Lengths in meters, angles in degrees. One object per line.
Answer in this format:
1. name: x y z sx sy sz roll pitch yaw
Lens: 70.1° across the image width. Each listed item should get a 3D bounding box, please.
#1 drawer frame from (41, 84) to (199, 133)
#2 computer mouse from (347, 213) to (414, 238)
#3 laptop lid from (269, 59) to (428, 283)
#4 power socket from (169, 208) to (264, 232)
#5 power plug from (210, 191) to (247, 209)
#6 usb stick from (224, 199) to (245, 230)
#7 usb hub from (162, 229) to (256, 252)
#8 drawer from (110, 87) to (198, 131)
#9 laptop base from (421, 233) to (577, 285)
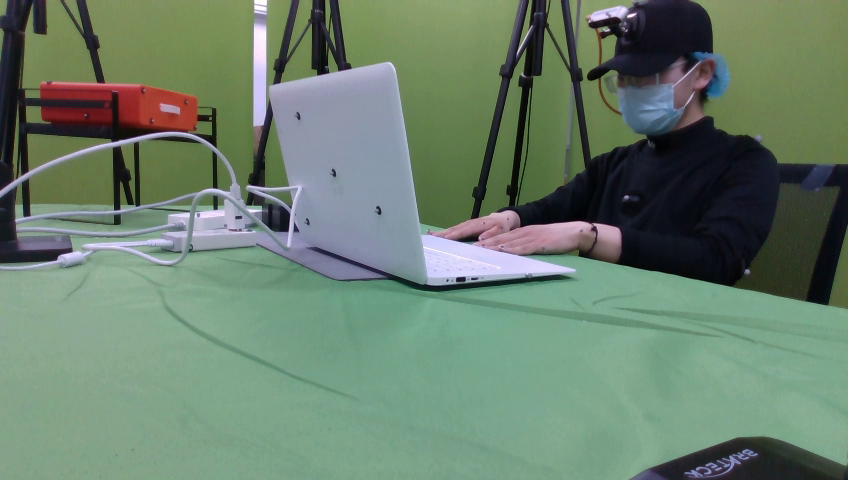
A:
1. drawer frame: -0.604 -0.264 1.225 0.213 0.082 0.202 3 8 8
2. computer mouse: -0.079 -0.025 1.080 0.117 0.041 0.062 -5 11 -18
3. laptop lid: -0.110 -0.087 0.752 0.013 0.241 0.355 -18 19 -30
4. power socket: -0.381 -0.038 1.128 0.072 0.032 0.227 4 8 17
5. power plug: -0.386 -0.071 1.204 0.072 0.052 0.035 8 10 25
6. usb stick: -0.289 -0.032 0.924 0.027 0.059 0.021 11 13 38
7. usb hub: -0.315 0.000 0.893 0.049 0.025 0.126 9 10 41
8. drawer: -0.602 -0.263 1.225 0.211 0.073 0.195 3 8 10
9. laptop base: 0.007 0.022 0.850 0.237 0.023 0.352 1 7 -34
